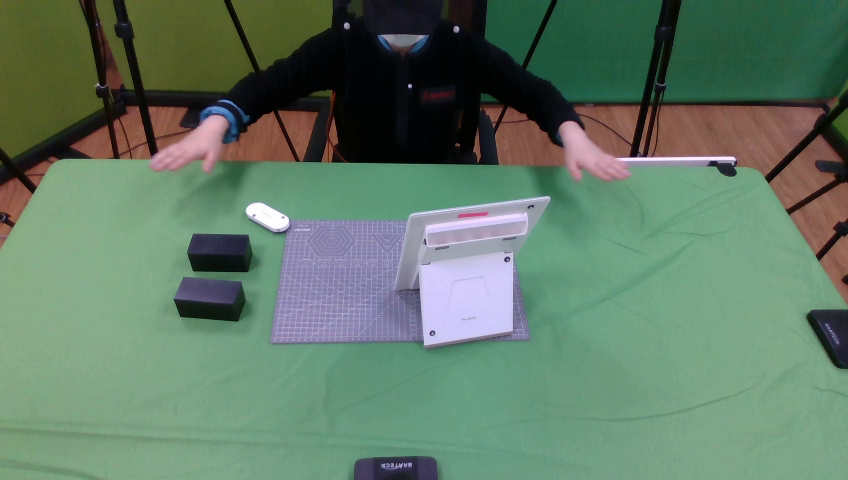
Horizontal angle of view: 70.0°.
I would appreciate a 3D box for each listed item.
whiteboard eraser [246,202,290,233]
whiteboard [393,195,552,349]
[{"bbox_3d":[-0.315,-0.047,1.218,0.101,0.019,0.041,28,51,22],"label":"whiteboard eraser"},{"bbox_3d":[0.077,0.071,0.977,0.217,0.306,0.143,-7,66,-11],"label":"whiteboard"}]
